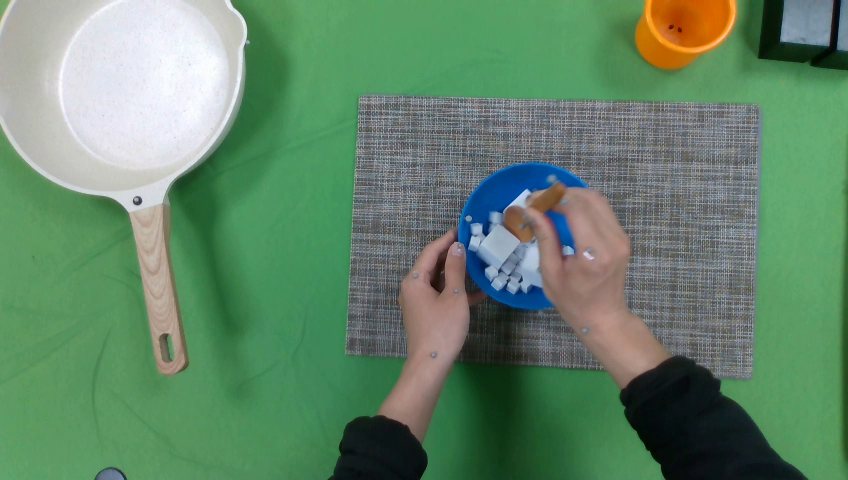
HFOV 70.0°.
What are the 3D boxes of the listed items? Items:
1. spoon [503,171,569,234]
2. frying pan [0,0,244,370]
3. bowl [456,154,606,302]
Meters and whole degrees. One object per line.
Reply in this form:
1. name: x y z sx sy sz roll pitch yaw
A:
1. spoon: 0.096 -0.031 0.534 0.021 0.194 0.041 -31 86 -3
2. frying pan: -0.317 -0.097 0.672 0.307 0.103 0.485 -14 79 5
3. bowl: 0.110 -0.010 0.646 0.151 0.077 0.151 0 88 4
